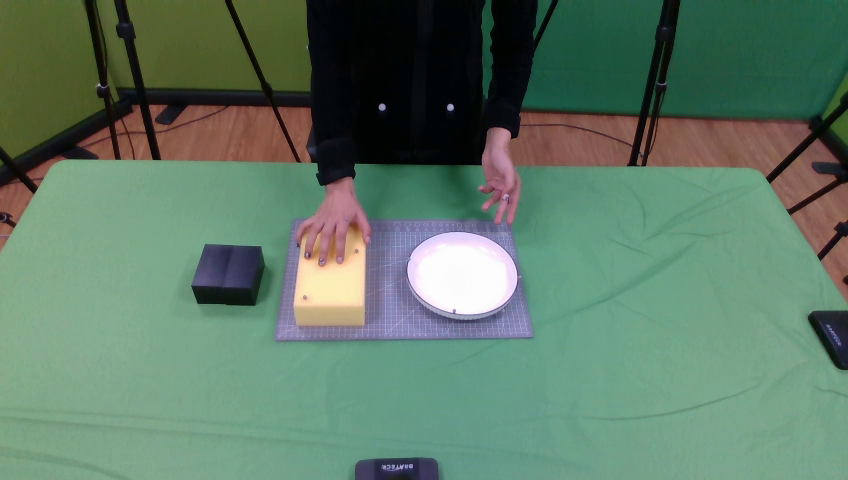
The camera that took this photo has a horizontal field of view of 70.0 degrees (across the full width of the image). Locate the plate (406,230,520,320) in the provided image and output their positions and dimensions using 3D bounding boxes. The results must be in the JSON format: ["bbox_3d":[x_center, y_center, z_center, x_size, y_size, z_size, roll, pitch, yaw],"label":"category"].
[{"bbox_3d":[0.070,0.067,1.122,0.209,0.038,0.208,2,46,-2],"label":"plate"}]

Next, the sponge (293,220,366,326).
[{"bbox_3d":[-0.167,0.056,1.101,0.118,0.061,0.205,-1,47,-4],"label":"sponge"}]
